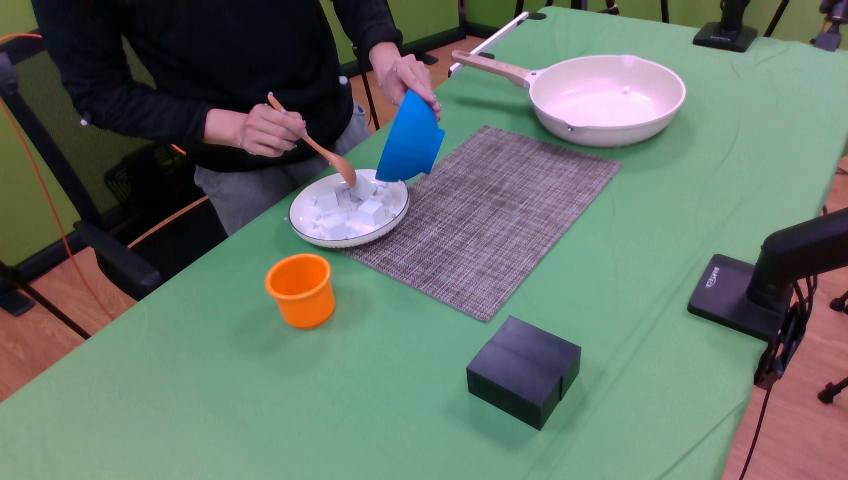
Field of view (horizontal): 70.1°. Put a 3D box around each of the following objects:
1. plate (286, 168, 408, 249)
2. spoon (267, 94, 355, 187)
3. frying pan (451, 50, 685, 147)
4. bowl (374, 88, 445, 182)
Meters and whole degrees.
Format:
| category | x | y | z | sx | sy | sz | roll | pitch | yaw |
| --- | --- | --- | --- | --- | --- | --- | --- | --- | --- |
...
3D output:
| category | x | y | z | sx | sy | sz | roll | pitch | yaw |
| --- | --- | --- | --- | --- | --- | --- | --- | --- | --- |
| plate | -0.127 | -0.051 | 1.028 | 0.207 | 0.039 | 0.206 | -5 | 39 | 5 |
| spoon | -0.171 | -0.152 | 0.935 | 0.021 | 0.195 | 0.041 | -28 | 36 | 31 |
| frying pan | 0.269 | -0.316 | 1.233 | 0.485 | 0.103 | 0.307 | 26 | 49 | 21 |
| bowl | -0.016 | -0.152 | 0.944 | 0.077 | 0.151 | 0.151 | 21 | 43 | -3 |
